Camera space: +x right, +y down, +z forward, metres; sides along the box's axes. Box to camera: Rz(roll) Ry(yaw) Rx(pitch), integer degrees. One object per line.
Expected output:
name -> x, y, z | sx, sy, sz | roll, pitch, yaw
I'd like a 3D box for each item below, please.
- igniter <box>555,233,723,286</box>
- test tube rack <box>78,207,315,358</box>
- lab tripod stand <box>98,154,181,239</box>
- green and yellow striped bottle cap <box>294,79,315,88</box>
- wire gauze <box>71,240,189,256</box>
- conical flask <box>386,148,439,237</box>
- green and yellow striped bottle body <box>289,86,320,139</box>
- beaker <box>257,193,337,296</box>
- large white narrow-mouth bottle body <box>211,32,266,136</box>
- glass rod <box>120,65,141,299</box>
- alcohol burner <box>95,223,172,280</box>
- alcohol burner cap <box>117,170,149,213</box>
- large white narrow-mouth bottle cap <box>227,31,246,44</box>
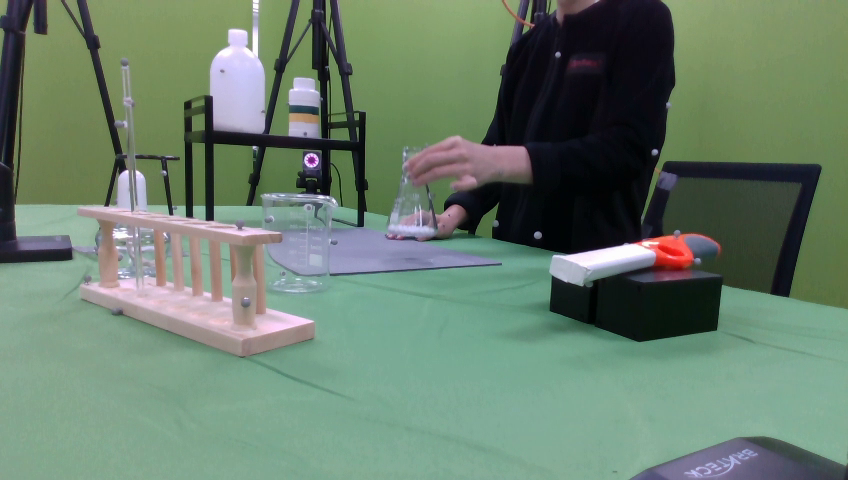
igniter -> 0.214, 0.015, 0.569 | 0.278, 0.025, 0.057 | -5, 22, -44
test tube rack -> -0.196, 0.023, 0.499 | 0.241, 0.085, 0.067 | 8, 9, 37
lab tripod stand -> -0.427, -0.066, 0.942 | 0.148, 0.131, 0.148 | 1, 6, 0
green and yellow striped bottle cap -> -0.248, -0.323, 1.256 | 0.045, 0.020, 0.045 | 3, 9, 0
wire gauze -> -0.399, 0.013, 0.820 | 0.126, 0.011, 0.121 | -3, 8, -37
conical flask -> -0.014, -0.067, 0.845 | 0.075, 0.122, 0.075 | 2, 5, 0
green and yellow striped bottle body -> -0.250, -0.272, 1.261 | 0.063, 0.119, 0.063 | 3, 7, 0
beaker -> -0.130, 0.003, 0.628 | 0.084, 0.100, 0.074 | 5, 8, 15
large white narrow-mouth bottle body -> -0.361, -0.302, 1.176 | 0.102, 0.194, 0.102 | 1, 7, 0
glass rod -> -0.249, -0.047, 0.513 | 0.008, 0.199, 0.008 | -1, 4, 0
alcohol burner -> -0.320, -0.016, 0.667 | 0.078, 0.119, 0.078 | 0, 7, 0
alcohol burner cap -> -0.320, -0.052, 0.661 | 0.034, 0.048, 0.034 | -3, 0, 0
large white narrow-mouth bottle cap -> -0.361, -0.387, 1.166 | 0.038, 0.024, 0.037 | 1, 7, 0
